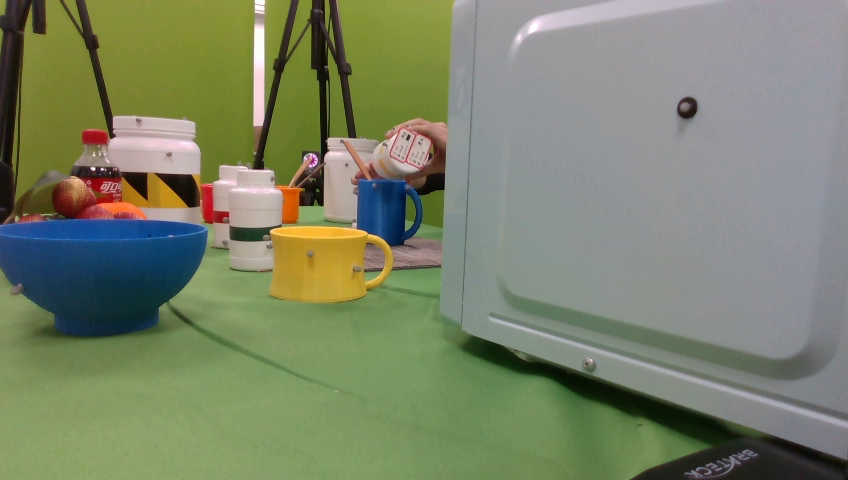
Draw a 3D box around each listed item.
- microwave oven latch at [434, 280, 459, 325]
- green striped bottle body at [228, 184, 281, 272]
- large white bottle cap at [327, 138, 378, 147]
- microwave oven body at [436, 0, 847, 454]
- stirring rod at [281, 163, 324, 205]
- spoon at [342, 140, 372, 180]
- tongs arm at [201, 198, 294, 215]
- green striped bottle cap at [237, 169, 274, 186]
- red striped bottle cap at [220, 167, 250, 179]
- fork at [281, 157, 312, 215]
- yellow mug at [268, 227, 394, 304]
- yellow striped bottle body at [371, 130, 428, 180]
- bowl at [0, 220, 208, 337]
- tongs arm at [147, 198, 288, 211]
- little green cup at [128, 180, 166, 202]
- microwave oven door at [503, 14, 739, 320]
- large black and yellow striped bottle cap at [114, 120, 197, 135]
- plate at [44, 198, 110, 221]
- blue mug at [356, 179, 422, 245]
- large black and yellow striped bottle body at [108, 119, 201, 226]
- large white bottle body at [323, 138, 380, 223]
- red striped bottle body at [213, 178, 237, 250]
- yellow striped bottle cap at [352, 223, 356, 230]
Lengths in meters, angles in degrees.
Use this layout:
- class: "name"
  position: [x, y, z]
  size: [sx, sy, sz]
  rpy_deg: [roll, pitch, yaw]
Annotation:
- class: "microwave oven latch"
  position: [0.044, 0.045, 0.470]
  size: [0.079, 0.029, 0.030]
  rpy_deg: [-2, 8, -39]
- class: "green striped bottle body"
  position: [-0.208, -0.023, 0.745]
  size: [0.063, 0.119, 0.063]
  rpy_deg: [2, 7, 0]
- class: "large white bottle cap"
  position: [-0.160, -0.218, 1.357]
  size: [0.115, 0.018, 0.115]
  rpy_deg: [2, 8, 0]
- class: "microwave oven body"
  position: [0.279, -0.040, 0.464]
  size: [0.444, 0.260, 0.324]
  rpy_deg: [-3, 9, -41]
- class: "stirring rod"
  position: [-0.278, -0.105, 1.293]
  size: [0.176, 0.006, 0.014]
  rpy_deg: [-47, 25, -18]
- class: "spoon"
  position: [-0.093, -0.094, 1.024]
  size: [0.042, 0.193, 0.021]
  rpy_deg: [-8, -23, -50]
- class: "tongs arm"
  position: [-0.423, -0.084, 1.472]
  size: [0.050, 0.026, 0.386]
  rpy_deg: [2, 6, 22]
- class: "green striped bottle cap"
  position: [-0.205, -0.075, 0.737]
  size: [0.044, 0.020, 0.044]
  rpy_deg: [1, 5, 0]
- class: "red striped bottle cap"
  position: [-0.281, -0.100, 0.901]
  size: [0.044, 0.017, 0.044]
  rpy_deg: [-1, 5, 0]
- class: "fork"
  position: [-0.289, -0.116, 1.321]
  size: [0.028, 0.019, 0.207]
  rpy_deg: [6, 51, 19]
- class: "yellow mug"
  position: [-0.094, 0.023, 0.629]
  size: [0.131, 0.064, 0.099]
  rpy_deg: [0, 7, -22]
- class: "yellow striped bottle body"
  position: [-0.042, -0.126, 0.923]
  size: [0.063, 0.062, 0.120]
  rpy_deg: [0, -1, -20]
- class: "bowl"
  position: [-0.251, 0.029, 0.479]
  size: [0.151, 0.077, 0.151]
  rpy_deg: [2, 7, 0]
- class: "tongs arm"
  position: [-0.503, -0.091, 1.513]
  size: [0.028, 0.028, 0.389]
  rpy_deg: [-1, 4, 38]
- class: "little green cup"
  position: [-0.485, -0.087, 1.062]
  size: [0.061, 0.038, 0.061]
  rpy_deg: [0, 6, 0]
- class: "microwave oven door"
  position: [0.217, -0.065, 0.601]
  size: [0.358, 0.243, 0.039]
  rpy_deg: [-4, 10, -41]
- class: "large black and yellow striped bottle cap"
  position: [-0.407, -0.171, 0.920]
  size: [0.115, 0.019, 0.115]
  rpy_deg: [2, 9, 0]
- class: "plate"
  position: [-0.617, -0.056, 1.179]
  size: [0.209, 0.038, 0.209]
  rpy_deg: [3, 7, 0]
- class: "blue mug"
  position: [-0.057, -0.047, 1.007]
  size: [0.116, 0.106, 0.082]
  rpy_deg: [4, 8, 20]
- class: "large black and yellow striped bottle body"
  position: [-0.412, -0.088, 0.930]
  size: [0.131, 0.184, 0.130]
  rpy_deg: [3, 7, 0]
- class: "large white bottle body"
  position: [-0.163, -0.135, 1.368]
  size: [0.131, 0.184, 0.130]
  rpy_deg: [2, 7, 0]
- class: "red striped bottle body"
  position: [-0.284, -0.048, 0.909]
  size: [0.063, 0.119, 0.063]
  rpy_deg: [3, 9, 0]
- class: "yellow striped bottle cap"
  position: [-0.115, -0.022, 1.144]
  size: [0.044, 0.018, 0.044]
  rpy_deg: [3, 8, 0]
